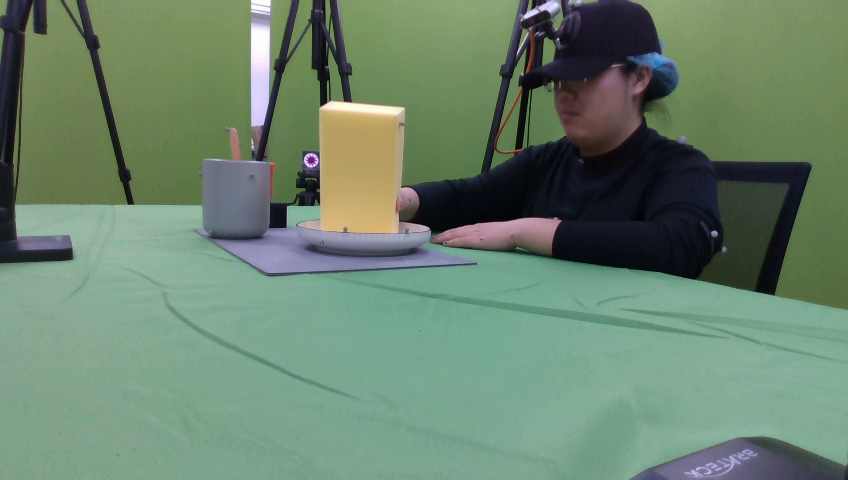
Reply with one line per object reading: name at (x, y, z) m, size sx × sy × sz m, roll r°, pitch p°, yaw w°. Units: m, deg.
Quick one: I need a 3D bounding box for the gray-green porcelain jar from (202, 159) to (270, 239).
gray-green porcelain jar at (-0.310, -0.068, 0.999) m, size 0.106 × 0.126 × 0.106 m, roll 3°, pitch 8°, yaw 0°

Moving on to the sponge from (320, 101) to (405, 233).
sponge at (-0.096, -0.104, 0.938) m, size 0.118 × 0.207 × 0.061 m, roll 8°, pitch 25°, yaw 6°

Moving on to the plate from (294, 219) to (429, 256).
plate at (-0.096, -0.005, 0.936) m, size 0.208 × 0.039 × 0.207 m, roll 3°, pitch 7°, yaw 0°

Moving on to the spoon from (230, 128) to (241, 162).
spoon at (-0.314, -0.109, 1.025) m, size 0.042 × 0.193 × 0.021 m, roll -5°, pitch -19°, yaw -16°
